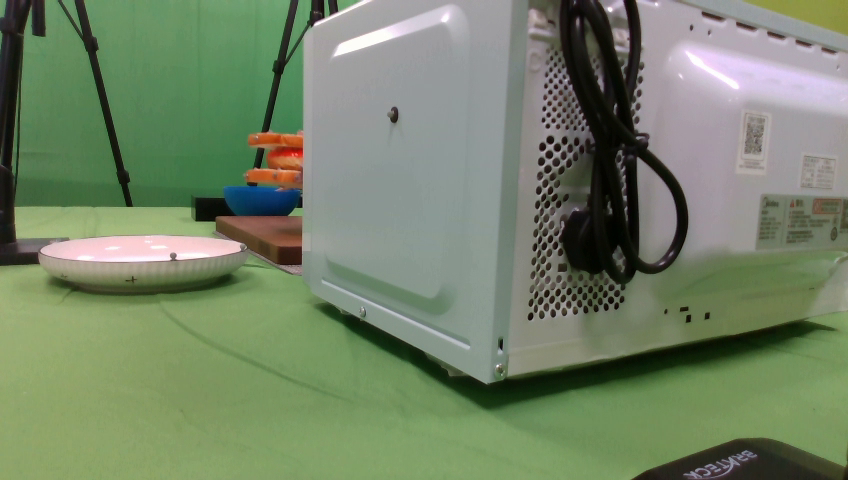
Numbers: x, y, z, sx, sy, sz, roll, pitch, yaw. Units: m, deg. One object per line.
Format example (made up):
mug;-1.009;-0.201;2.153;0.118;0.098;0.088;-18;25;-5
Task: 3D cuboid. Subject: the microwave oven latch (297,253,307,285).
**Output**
microwave oven latch;-0.082;0.027;0.582;0.079;0.029;0.030;-1;7;-32

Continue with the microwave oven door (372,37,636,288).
microwave oven door;0.110;-0.080;0.686;0.358;0.243;0.039;-2;9;-33

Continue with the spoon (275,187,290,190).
spoon;-0.300;-0.103;1.266;0.194;0.021;0.041;-23;12;-24

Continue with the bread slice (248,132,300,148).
bread slice;-0.205;-0.155;0.947;0.135;0.018;0.106;-3;5;-38

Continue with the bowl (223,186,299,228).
bowl;-0.330;-0.068;1.231;0.151;0.077;0.151;3;8;0

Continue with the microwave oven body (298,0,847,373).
microwave oven body;0.151;-0.055;0.542;0.444;0.260;0.324;-2;7;-33

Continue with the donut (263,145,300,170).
donut;-0.202;-0.124;0.950;0.099;0.048;0.099;5;2;0

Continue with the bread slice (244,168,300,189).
bread slice;-0.209;-0.095;0.943;0.132;0.019;0.104;4;-2;-35

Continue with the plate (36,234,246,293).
plate;-0.305;0.026;0.668;0.208;0.039;0.207;2;7;0
